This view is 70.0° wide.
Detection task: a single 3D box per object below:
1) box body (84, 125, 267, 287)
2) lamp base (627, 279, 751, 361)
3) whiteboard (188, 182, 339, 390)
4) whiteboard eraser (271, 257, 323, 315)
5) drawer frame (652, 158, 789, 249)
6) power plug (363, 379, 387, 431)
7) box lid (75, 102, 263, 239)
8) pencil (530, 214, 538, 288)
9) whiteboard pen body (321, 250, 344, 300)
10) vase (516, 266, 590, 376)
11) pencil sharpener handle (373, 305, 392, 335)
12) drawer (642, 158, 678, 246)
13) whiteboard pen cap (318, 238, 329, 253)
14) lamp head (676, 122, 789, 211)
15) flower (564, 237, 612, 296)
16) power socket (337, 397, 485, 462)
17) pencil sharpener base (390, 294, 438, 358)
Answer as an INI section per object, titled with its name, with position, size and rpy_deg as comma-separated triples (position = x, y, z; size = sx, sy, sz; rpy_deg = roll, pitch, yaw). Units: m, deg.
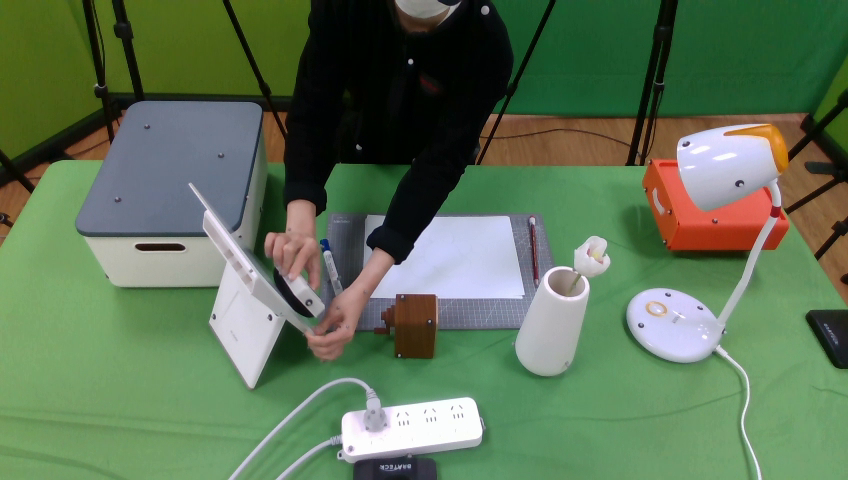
[box body]
position = -0.446, -0.088, 1.150
size = 0.254, 0.161, 0.361
rpy_deg = -1, 46, -5
[lamp base]
position = 0.459, 0.100, 1.027
size = 0.178, 0.181, 0.160
rpy_deg = 27, 51, 17
[whiteboard]
position = -0.292, 0.096, 0.929
size = 0.144, 0.307, 0.216
rpy_deg = -38, 57, -10
[whiteboard eraser]
position = -0.196, 0.071, 0.915
size = 0.042, 0.056, 0.112
rpy_deg = -43, 36, -6
[drawer frame]
position = 0.571, -0.075, 1.214
size = 0.214, 0.083, 0.200
rpy_deg = 0, 45, -1
[power plug]
position = -0.072, 0.252, 0.910
size = 0.035, 0.053, 0.072
rpy_deg = 3, 45, -1
[box lid]
position = -0.443, -0.138, 1.094
size = 0.263, 0.015, 0.369
rpy_deg = -1, 47, -5
[pencil]
position = 0.218, 0.019, 1.201
size = 0.012, 0.012, 0.193
rpy_deg = 5, 48, 1
[whiteboard pen body]
position = -0.173, 0.056, 1.126
size = 0.017, 0.017, 0.140
rpy_deg = -13, 50, -16
[vase]
position = 0.208, 0.132, 0.964
size = 0.098, 0.201, 0.097
rpy_deg = 3, 46, -3
[pencil sharpener handle]
position = -0.068, 0.133, 0.989
size = 0.030, 0.068, 0.036
rpy_deg = 1, 46, -2
[drawer]
position = 0.565, -0.076, 1.211
size = 0.212, 0.073, 0.193
rpy_deg = 2, 45, -2
[whiteboard pen cap]
position = -0.191, 0.014, 1.162
size = 0.018, 0.018, 0.033
rpy_deg = -11, 49, -15
[lamp head]
position = 0.423, -0.104, 0.819
size = 0.122, 0.113, 0.112
rpy_deg = -13, 33, 40
[flower]
position = 0.206, 0.088, 0.893
size = 0.038, 0.363, 0.044
rpy_deg = -17, 67, -9
[power socket]
position = -0.018, 0.285, 0.915
size = 0.227, 0.033, 0.071
rpy_deg = -5, 46, -8
[pencil sharpener base]
position = -0.018, 0.143, 1.000
size = 0.077, 0.107, 0.061
rpy_deg = 1, 46, -2
